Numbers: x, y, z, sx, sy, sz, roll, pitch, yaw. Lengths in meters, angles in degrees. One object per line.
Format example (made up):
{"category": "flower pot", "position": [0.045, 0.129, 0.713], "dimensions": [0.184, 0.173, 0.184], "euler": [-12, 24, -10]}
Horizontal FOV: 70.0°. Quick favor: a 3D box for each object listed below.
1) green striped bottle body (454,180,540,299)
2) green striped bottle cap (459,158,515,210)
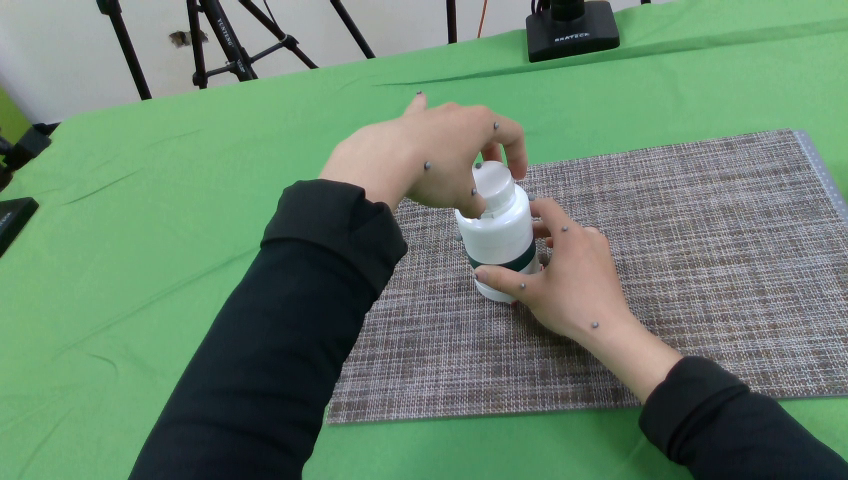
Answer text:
{"category": "green striped bottle body", "position": [0.064, -0.008, 0.528], "dimensions": [0.063, 0.120, 0.062], "euler": [-10, 44, 10]}
{"category": "green striped bottle cap", "position": [0.051, -0.045, 0.490], "dimensions": [0.044, 0.020, 0.044], "euler": [-8, 52, 11]}
